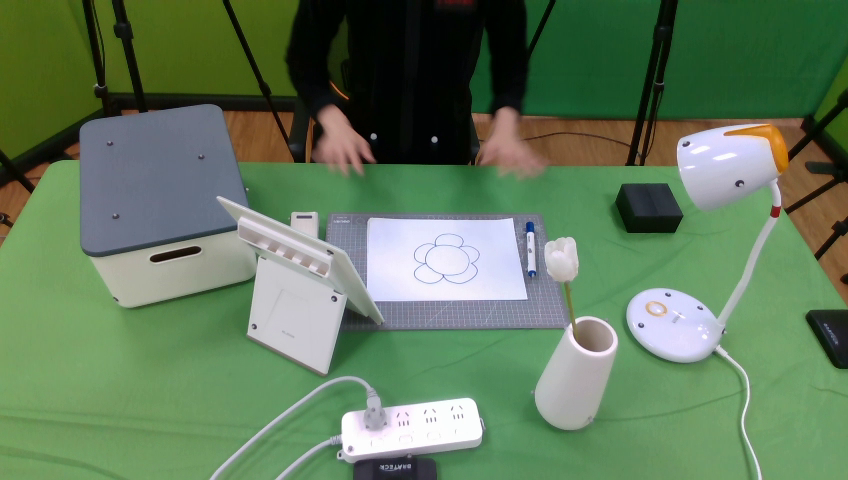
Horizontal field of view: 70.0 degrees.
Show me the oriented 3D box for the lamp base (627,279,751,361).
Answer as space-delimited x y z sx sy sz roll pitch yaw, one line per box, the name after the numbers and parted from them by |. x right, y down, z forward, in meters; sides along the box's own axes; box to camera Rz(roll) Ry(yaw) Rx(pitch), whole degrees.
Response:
0.460 0.100 1.027 0.178 0.181 0.160 27 51 17 | lamp base

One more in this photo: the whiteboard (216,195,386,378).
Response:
-0.212 0.094 0.938 0.216 0.307 0.143 24 70 17 | whiteboard

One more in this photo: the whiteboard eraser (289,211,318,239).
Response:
-0.234 -0.007 1.172 0.055 0.042 0.112 -3 47 -5 | whiteboard eraser

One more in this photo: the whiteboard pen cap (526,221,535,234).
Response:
0.216 -0.022 1.234 0.018 0.018 0.033 6 44 1 | whiteboard pen cap

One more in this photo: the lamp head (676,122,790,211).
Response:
0.423 -0.104 0.819 0.122 0.113 0.112 -13 33 40 | lamp head

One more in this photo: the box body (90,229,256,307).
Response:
-0.471 -0.070 1.131 0.254 0.161 0.361 -14 49 -17 | box body

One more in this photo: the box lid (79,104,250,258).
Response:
-0.467 -0.121 1.075 0.264 0.015 0.369 -13 49 -17 | box lid

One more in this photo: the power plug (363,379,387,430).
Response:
-0.072 0.252 0.911 0.035 0.053 0.072 3 40 0 | power plug

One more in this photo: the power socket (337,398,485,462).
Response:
-0.018 0.285 0.914 0.227 0.033 0.071 -4 46 -8 | power socket

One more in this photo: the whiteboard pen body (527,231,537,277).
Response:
0.211 0.018 1.191 0.017 0.017 0.140 6 44 2 | whiteboard pen body

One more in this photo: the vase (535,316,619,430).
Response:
0.229 0.200 0.901 0.098 0.201 0.097 3 46 -3 | vase

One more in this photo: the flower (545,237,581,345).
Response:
0.213 0.137 0.846 0.038 0.364 0.044 20 55 39 | flower
